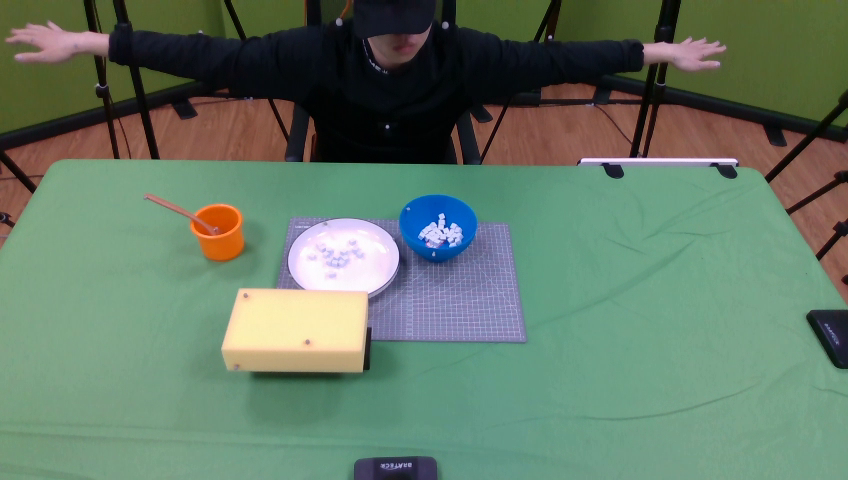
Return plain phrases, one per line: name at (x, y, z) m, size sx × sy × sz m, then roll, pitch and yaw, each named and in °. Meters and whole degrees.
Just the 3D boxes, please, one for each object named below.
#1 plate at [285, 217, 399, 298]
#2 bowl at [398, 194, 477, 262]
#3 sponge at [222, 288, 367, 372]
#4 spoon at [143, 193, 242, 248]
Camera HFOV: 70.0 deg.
plate at (-0.150, 0.041, 1.131) m, size 0.209 × 0.038 × 0.208 m, roll 2°, pitch 45°, yaw -2°
bowl at (0.023, -0.011, 1.167) m, size 0.151 × 0.077 × 0.150 m, roll 2°, pitch 46°, yaw -2°
sponge at (-0.196, 0.141, 0.952) m, size 0.207 × 0.061 × 0.117 m, roll 1°, pitch 46°, yaw -3°
spoon at (-0.421, -0.037, 1.113) m, size 0.021 × 0.195 × 0.041 m, roll -36°, pitch 37°, yaw 23°
